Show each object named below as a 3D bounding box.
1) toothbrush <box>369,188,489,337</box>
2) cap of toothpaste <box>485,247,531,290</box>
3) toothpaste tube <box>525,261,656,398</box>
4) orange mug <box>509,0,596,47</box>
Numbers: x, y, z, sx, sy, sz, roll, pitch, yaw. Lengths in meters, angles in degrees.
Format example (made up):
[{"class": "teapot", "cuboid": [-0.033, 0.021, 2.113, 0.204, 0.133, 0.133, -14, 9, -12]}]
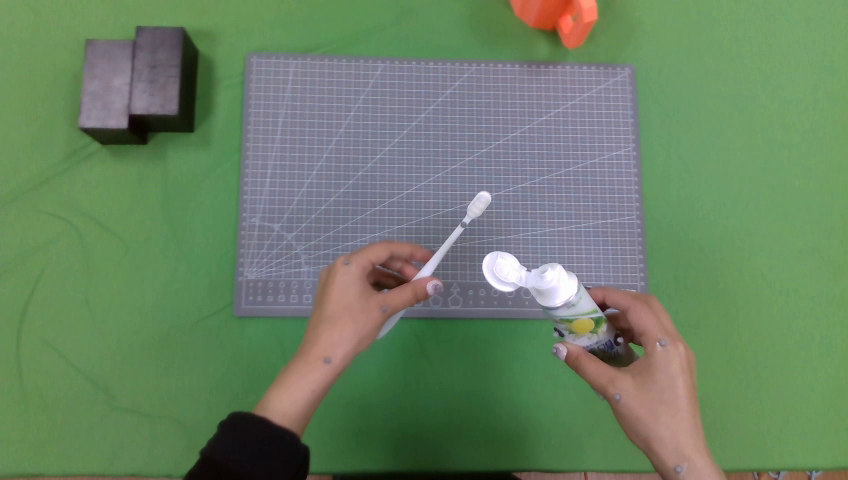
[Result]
[{"class": "toothbrush", "cuboid": [0.000, 0.026, 0.528, 0.014, 0.016, 0.182, 35, 118, -5]}, {"class": "cap of toothpaste", "cuboid": [0.064, 0.021, 0.461, 0.037, 0.011, 0.037, 10, 61, -19]}, {"class": "toothpaste tube", "cuboid": [0.130, 0.075, 0.489, 0.055, 0.034, 0.166, -27, 122, 24]}, {"class": "orange mug", "cuboid": [0.153, -0.286, 0.678, 0.083, 0.101, 0.125, -20, 77, -6]}]
